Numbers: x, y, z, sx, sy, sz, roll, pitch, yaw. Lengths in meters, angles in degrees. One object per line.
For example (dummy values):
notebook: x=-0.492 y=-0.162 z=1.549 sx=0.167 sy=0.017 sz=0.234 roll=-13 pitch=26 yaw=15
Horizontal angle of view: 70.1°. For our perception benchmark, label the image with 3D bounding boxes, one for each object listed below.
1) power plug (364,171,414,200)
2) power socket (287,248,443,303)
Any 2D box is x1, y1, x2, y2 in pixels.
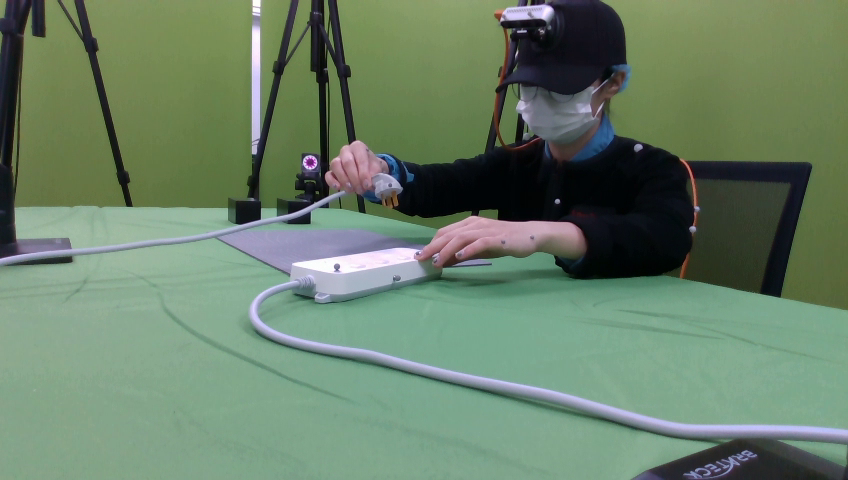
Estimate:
power plug: x=-0.046 y=-0.072 z=0.785 sx=0.053 sy=0.035 sz=0.072 roll=3 pitch=4 yaw=-20
power socket: x=-0.058 y=0.035 z=0.687 sx=0.072 sy=0.032 sz=0.228 roll=8 pitch=9 yaw=33
